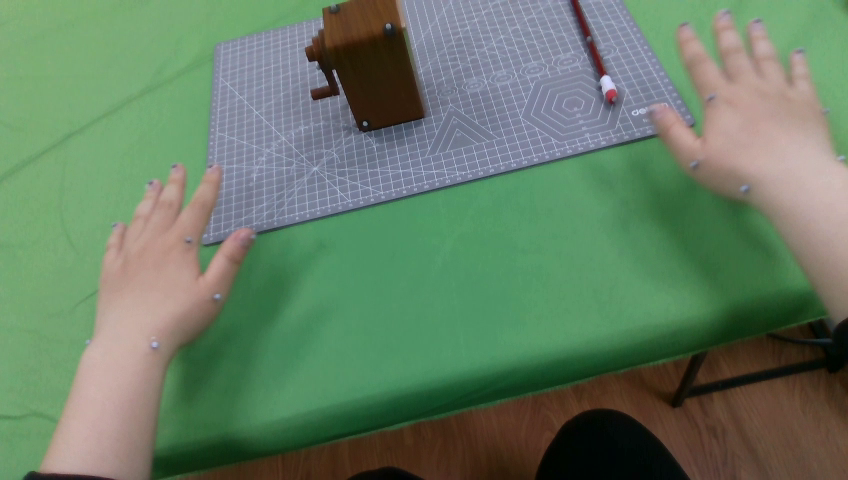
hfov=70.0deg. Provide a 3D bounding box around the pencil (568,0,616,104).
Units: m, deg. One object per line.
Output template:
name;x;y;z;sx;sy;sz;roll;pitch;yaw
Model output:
pencil;0.162;-0.203;0.605;0.012;0.012;0.192;-10;54;6

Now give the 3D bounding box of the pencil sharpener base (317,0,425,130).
pencil sharpener base;-0.048;-0.163;0.563;0.076;0.108;0.060;-14;55;3

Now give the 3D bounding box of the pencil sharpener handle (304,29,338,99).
pencil sharpener handle;-0.100;-0.158;0.555;0.030;0.068;0.035;-14;55;3
